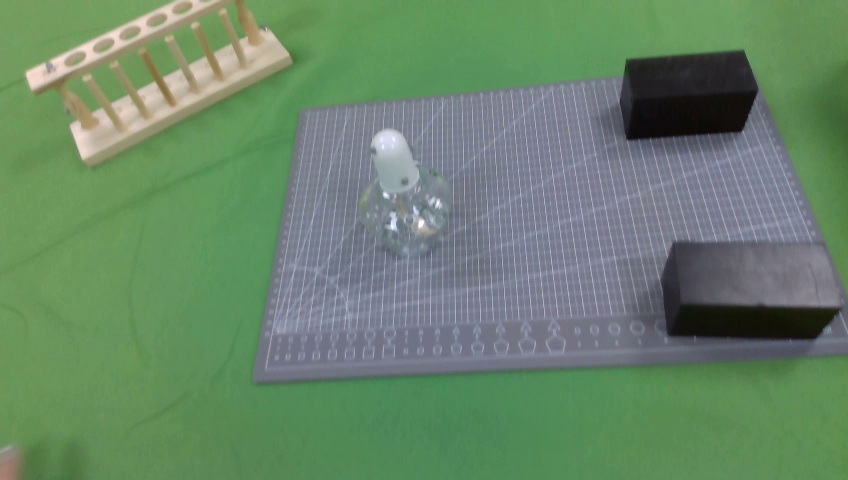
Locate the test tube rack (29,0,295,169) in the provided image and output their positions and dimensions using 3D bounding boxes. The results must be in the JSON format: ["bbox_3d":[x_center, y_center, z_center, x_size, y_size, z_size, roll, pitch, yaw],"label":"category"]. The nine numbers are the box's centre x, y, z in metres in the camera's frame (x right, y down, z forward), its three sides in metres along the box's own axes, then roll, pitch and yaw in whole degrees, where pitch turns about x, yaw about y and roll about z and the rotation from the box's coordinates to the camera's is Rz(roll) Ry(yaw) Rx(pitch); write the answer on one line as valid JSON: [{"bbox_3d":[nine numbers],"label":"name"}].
[{"bbox_3d":[-0.270,-0.179,0.644,0.242,0.086,0.066,-30,57,-11],"label":"test tube rack"}]

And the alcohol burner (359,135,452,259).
[{"bbox_3d":[-0.017,-0.038,0.485,0.078,0.120,0.077,-5,53,7],"label":"alcohol burner"}]

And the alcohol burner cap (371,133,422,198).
[{"bbox_3d":[-0.022,-0.058,0.456,0.034,0.048,0.033,-8,51,10],"label":"alcohol burner cap"}]
